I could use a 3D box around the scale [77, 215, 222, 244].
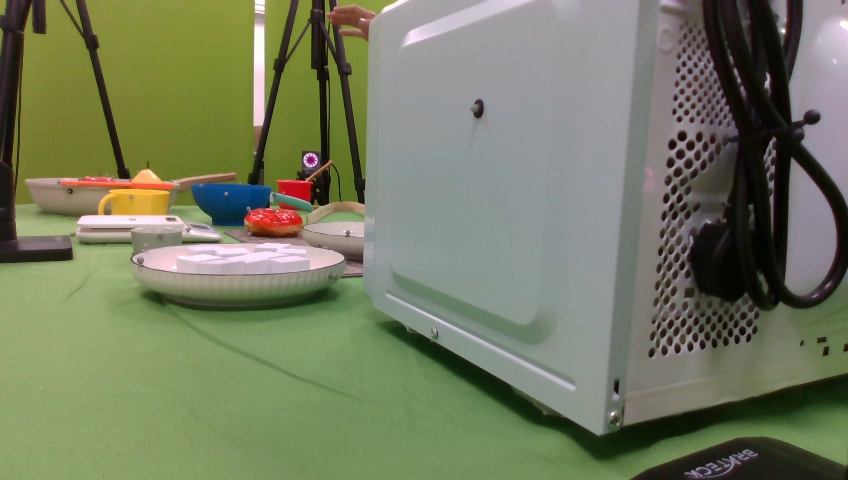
[{"bbox_3d":[-0.434,-0.019,0.963,0.202,0.031,0.148,-1,8,-27],"label":"scale"}]

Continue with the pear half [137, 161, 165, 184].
[{"bbox_3d":[-0.604,-0.120,1.354,0.056,0.110,0.076,3,11,7],"label":"pear half"}]

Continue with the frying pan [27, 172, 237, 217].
[{"bbox_3d":[-0.624,-0.118,1.387,0.305,0.102,0.490,8,17,32],"label":"frying pan"}]

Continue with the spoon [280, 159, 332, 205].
[{"bbox_3d":[-0.316,-0.159,1.640,0.194,0.022,0.041,-50,31,-20],"label":"spoon"}]

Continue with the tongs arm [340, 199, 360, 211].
[{"bbox_3d":[-0.149,-0.070,1.429,0.051,0.026,0.383,-4,9,-15],"label":"tongs arm"}]

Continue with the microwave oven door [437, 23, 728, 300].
[{"bbox_3d":[0.181,-0.072,0.621,0.358,0.243,0.039,-2,8,-29],"label":"microwave oven door"}]

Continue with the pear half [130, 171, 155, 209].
[{"bbox_3d":[-0.640,-0.113,1.361,0.031,0.088,0.070,5,10,5],"label":"pear half"}]

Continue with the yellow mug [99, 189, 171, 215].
[{"bbox_3d":[-0.519,-0.055,1.080,0.099,0.064,0.131,7,10,26],"label":"yellow mug"}]

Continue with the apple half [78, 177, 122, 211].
[{"bbox_3d":[-0.698,-0.099,1.298,0.081,0.074,0.053,-9,9,-40],"label":"apple half"}]

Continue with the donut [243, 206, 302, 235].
[{"bbox_3d":[-0.261,-0.032,1.043,0.099,0.048,0.099,4,9,0],"label":"donut"}]

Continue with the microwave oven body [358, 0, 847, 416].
[{"bbox_3d":[0.211,-0.047,0.474,0.444,0.260,0.324,-1,7,-28],"label":"microwave oven body"}]

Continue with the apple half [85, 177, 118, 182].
[{"bbox_3d":[-0.673,-0.096,1.269,0.082,0.081,0.032,-4,6,-40],"label":"apple half"}]

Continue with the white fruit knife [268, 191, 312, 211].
[{"bbox_3d":[-0.364,-0.105,1.464,0.208,0.027,0.016,15,0,-34],"label":"white fruit knife"}]

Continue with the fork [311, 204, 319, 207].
[{"bbox_3d":[-0.356,-0.105,1.526,0.208,0.018,0.028,16,-5,-41],"label":"fork"}]

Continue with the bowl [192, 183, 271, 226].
[{"bbox_3d":[-0.382,-0.071,1.202,0.151,0.077,0.151,3,7,0],"label":"bowl"}]

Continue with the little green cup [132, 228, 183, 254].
[{"bbox_3d":[-0.342,0.006,0.779,0.061,0.038,0.061,2,8,0],"label":"little green cup"}]

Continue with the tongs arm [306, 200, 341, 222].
[{"bbox_3d":[-0.234,-0.068,1.414,0.028,0.028,0.387,-5,8,1],"label":"tongs arm"}]

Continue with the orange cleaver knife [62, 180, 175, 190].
[{"bbox_3d":[-0.600,-0.110,1.193,0.212,0.012,0.077,1,8,-13],"label":"orange cleaver knife"}]

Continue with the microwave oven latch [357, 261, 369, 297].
[{"bbox_3d":[-0.019,0.033,0.531,0.079,0.029,0.030,-1,7,-27],"label":"microwave oven latch"}]

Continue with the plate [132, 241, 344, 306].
[{"bbox_3d":[-0.187,0.033,0.625,0.208,0.039,0.207,2,8,0],"label":"plate"}]

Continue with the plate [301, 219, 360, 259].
[{"bbox_3d":[-0.077,-0.002,0.893,0.209,0.038,0.209,3,8,0],"label":"plate"}]
